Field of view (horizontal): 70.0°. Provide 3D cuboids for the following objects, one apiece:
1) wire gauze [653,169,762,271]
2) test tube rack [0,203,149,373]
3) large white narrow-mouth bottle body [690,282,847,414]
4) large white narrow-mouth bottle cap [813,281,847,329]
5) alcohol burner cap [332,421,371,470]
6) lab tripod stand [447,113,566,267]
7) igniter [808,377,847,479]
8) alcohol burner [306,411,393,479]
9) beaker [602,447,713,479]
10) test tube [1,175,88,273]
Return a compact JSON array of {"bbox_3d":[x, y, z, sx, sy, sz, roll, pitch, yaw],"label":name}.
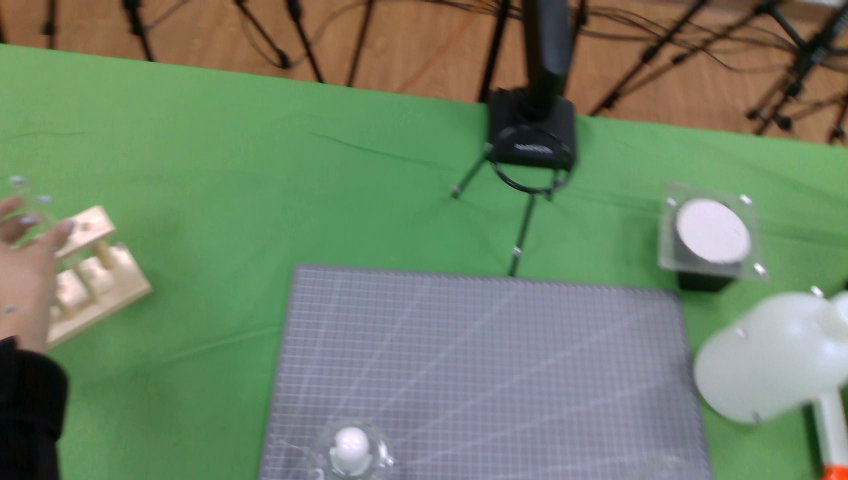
[{"bbox_3d":[0.326,-0.023,0.707,0.121,0.011,0.124,11,60,-1],"label":"wire gauze"},{"bbox_3d":[-0.401,0.068,0.574,0.242,0.086,0.066,-34,70,-23],"label":"test tube rack"},{"bbox_3d":[0.348,0.099,0.591,0.102,0.196,0.101,3,60,-5],"label":"large white narrow-mouth bottle body"},{"bbox_3d":[0.356,0.055,0.518,0.038,0.024,0.037,3,60,-5],"label":"large white narrow-mouth bottle cap"},{"bbox_3d":[-0.061,0.168,0.502,0.034,0.048,0.033,3,55,-3],"label":"alcohol burner cap"},{"bbox_3d":[0.100,-0.063,0.685,0.149,0.132,0.147,4,62,-7],"label":"lab tripod stand"},{"bbox_3d":[0.424,0.236,0.622,0.057,0.025,0.274,15,60,-11],"label":"igniter"},{"bbox_3d":[-0.065,0.185,0.534,0.078,0.120,0.077,4,59,-7],"label":"alcohol burner"},{"bbox_3d":[0.202,0.236,0.548,0.084,0.101,0.073,1,60,-5],"label":"beaker"},{"bbox_3d":[-0.350,-0.008,0.566,0.017,0.151,0.017,3,57,-4],"label":"test tube"}]
